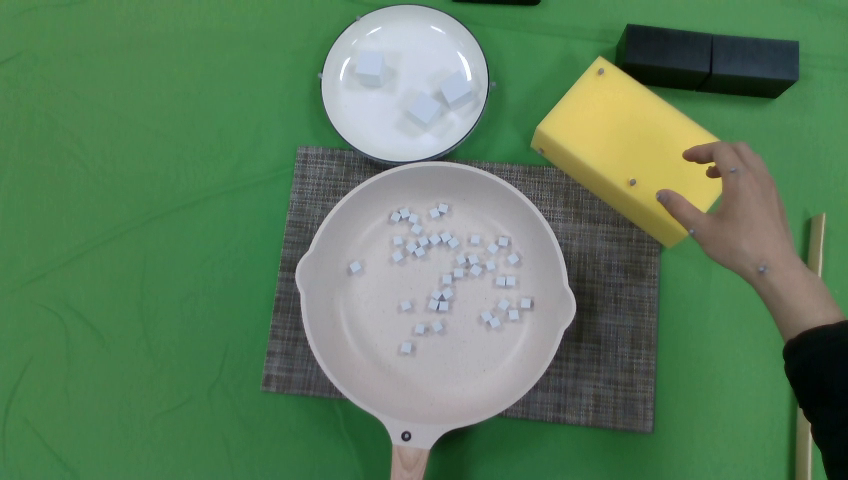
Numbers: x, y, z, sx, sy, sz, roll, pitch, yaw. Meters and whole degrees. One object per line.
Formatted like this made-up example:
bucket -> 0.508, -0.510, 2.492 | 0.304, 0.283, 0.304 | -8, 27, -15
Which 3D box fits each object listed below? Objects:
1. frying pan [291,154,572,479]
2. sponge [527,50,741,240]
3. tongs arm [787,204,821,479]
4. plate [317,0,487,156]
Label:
frying pan -> -0.008, 0.149, 0.652 | 0.306, 0.103, 0.485 | 8, 72, 4
sponge -> 0.241, -0.111, 0.713 | 0.206, 0.061, 0.118 | 39, 81, 9
tongs arm -> 0.431, 0.147, 0.680 | 0.028, 0.028, 0.386 | 8, 81, 2
plate -> -0.026, -0.200, 0.752 | 0.207, 0.039, 0.207 | 0, 80, 2
